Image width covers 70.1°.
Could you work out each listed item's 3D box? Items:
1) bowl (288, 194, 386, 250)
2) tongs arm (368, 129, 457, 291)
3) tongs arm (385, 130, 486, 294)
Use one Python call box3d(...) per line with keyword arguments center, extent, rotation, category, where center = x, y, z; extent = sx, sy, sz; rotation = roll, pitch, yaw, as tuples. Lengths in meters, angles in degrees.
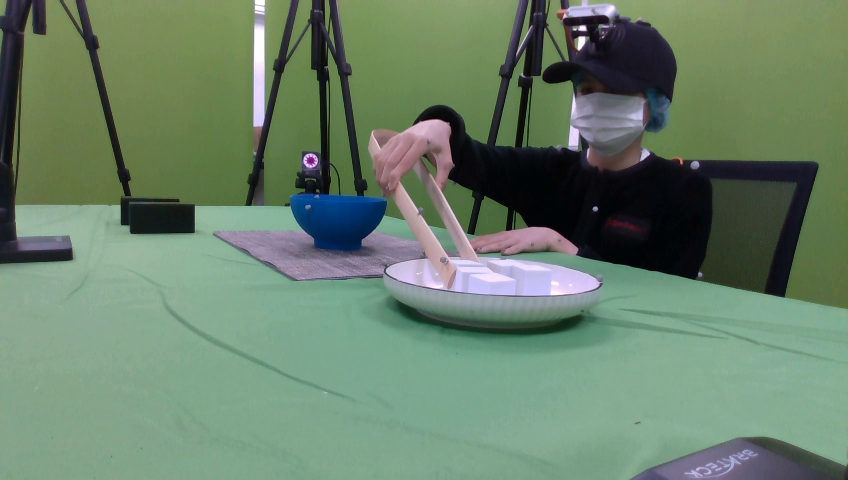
box3d(center=(-0.135, -0.027, 0.936), extent=(0.151, 0.077, 0.151), rotation=(3, 7, 0), category="bowl")
box3d(center=(-0.016, -0.057, 0.760), extent=(0.051, 0.026, 0.383), rotation=(4, 30, -25), category="tongs arm")
box3d(center=(0.007, -0.054, 0.769), extent=(0.028, 0.028, 0.386), rotation=(3, 30, -20), category="tongs arm")
